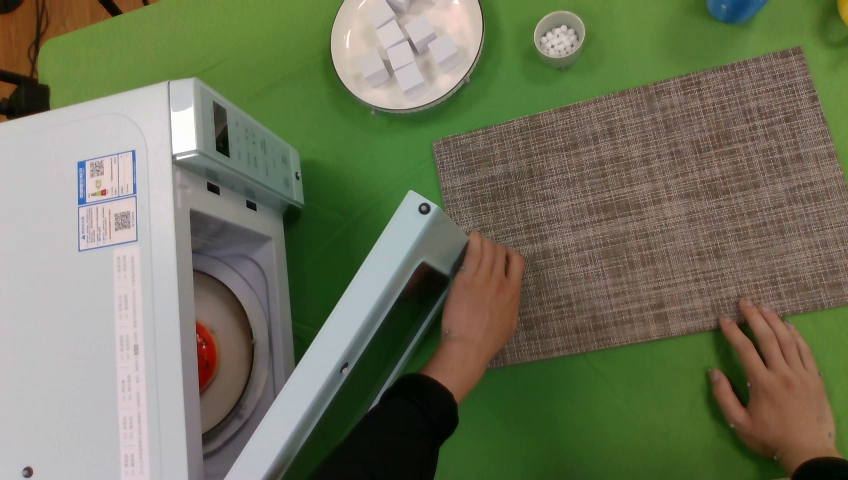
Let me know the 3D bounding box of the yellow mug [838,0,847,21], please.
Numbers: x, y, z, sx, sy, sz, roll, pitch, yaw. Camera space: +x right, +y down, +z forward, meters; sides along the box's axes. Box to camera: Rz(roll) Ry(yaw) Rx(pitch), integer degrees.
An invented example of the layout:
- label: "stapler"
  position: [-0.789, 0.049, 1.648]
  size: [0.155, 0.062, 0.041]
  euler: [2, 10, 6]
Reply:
- label: "yellow mug"
  position: [0.513, -0.274, 0.664]
  size: [0.099, 0.064, 0.131]
  euler: [37, 92, 15]

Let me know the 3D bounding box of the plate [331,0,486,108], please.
- label: "plate"
  position: [-0.019, -0.270, 0.802]
  size: [0.207, 0.039, 0.207]
  euler: [-2, 81, 13]

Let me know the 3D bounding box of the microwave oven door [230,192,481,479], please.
- label: "microwave oven door"
  position: [-0.066, 0.128, 0.629]
  size: [0.039, 0.245, 0.355]
  euler: [32, 90, 17]

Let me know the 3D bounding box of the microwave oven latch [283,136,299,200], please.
- label: "microwave oven latch"
  position: [-0.182, -0.094, 0.794]
  size: [0.030, 0.029, 0.079]
  euler: [-5, 81, 12]

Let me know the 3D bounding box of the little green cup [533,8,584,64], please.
- label: "little green cup"
  position: [0.168, -0.252, 0.755]
  size: [0.061, 0.039, 0.061]
  euler: [-2, 81, 13]

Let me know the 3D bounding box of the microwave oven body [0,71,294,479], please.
- label: "microwave oven body"
  position: [-0.324, 0.088, 0.700]
  size: [0.325, 0.261, 0.440]
  euler: [-10, 80, 11]

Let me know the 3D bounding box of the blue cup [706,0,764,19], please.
- label: "blue cup"
  position: [0.362, -0.302, 0.685]
  size: [0.092, 0.101, 0.092]
  euler: [-2, 83, 13]
